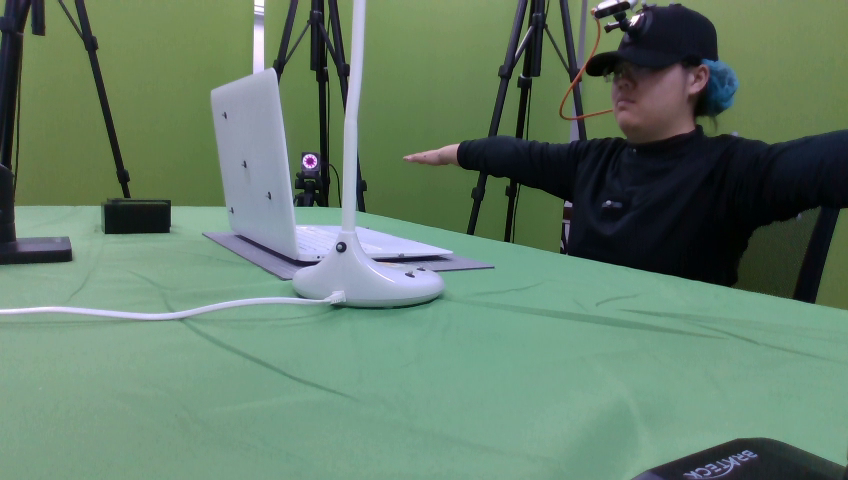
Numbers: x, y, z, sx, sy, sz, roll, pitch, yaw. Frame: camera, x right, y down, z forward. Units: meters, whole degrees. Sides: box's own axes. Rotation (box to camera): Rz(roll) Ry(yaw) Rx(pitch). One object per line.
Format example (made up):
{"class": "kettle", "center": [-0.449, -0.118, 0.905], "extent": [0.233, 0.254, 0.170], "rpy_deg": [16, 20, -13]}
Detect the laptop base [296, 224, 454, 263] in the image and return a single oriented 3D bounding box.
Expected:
{"class": "laptop base", "center": [-0.143, 0.003, 0.957], "extent": [0.237, 0.023, 0.352], "rpy_deg": [2, 6, -32]}

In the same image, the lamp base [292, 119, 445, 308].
{"class": "lamp base", "center": [-0.056, -0.030, 0.616], "extent": [0.160, 0.180, 0.179], "rpy_deg": [3, 10, 8]}

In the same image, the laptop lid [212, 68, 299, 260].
{"class": "laptop lid", "center": [-0.254, -0.111, 0.872], "extent": [0.013, 0.241, 0.355], "rpy_deg": [-11, 14, -30]}
